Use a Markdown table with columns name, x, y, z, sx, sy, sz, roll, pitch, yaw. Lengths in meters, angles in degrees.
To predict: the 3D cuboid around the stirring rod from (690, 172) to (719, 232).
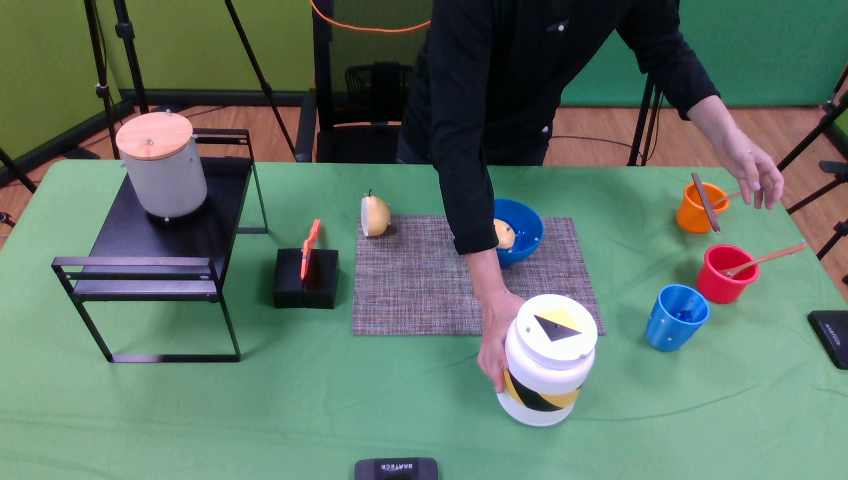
| name | x | y | z | sx | sy | sz | roll | pitch | yaw |
| --- | --- | --- | --- | --- | --- | --- | --- | --- | --- |
| stirring rod | 0.566 | -0.080 | 1.224 | 0.014 | 0.006 | 0.175 | 3 | 46 | 1 |

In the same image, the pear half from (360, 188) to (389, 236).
| name | x | y | z | sx | sy | sz | roll | pitch | yaw |
| --- | --- | --- | --- | --- | --- | --- | --- | --- | --- |
| pear half | -0.096 | -0.060 | 1.181 | 0.056 | 0.110 | 0.076 | -13 | 52 | -17 |

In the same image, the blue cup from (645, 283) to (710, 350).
| name | x | y | z | sx | sy | sz | roll | pitch | yaw |
| --- | --- | --- | --- | --- | --- | --- | --- | --- | --- |
| blue cup | 0.426 | 0.138 | 1.041 | 0.093 | 0.101 | 0.092 | 3 | 47 | -3 |

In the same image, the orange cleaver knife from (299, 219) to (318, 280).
| name | x | y | z | sx | sy | sz | roll | pitch | yaw |
| --- | --- | --- | --- | --- | --- | --- | --- | --- | --- |
| orange cleaver knife | -0.214 | 0.013 | 1.126 | 0.012 | 0.077 | 0.210 | 5 | 17 | -5 |

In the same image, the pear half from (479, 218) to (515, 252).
| name | x | y | z | sx | sy | sz | roll | pitch | yaw |
| --- | --- | --- | --- | --- | --- | --- | --- | --- | --- |
| pear half | 0.145 | -0.013 | 1.167 | 0.070 | 0.031 | 0.087 | -21 | 55 | -19 |

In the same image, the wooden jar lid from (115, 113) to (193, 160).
| name | x | y | z | sx | sy | sz | roll | pitch | yaw |
| --- | --- | --- | --- | --- | --- | --- | --- | --- | --- |
| wooden jar lid | -0.399 | -0.151 | 0.900 | 0.108 | 0.021 | 0.107 | 3 | 46 | -3 |

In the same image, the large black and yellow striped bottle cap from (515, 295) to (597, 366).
| name | x | y | z | sx | sy | sz | roll | pitch | yaw |
| --- | --- | --- | --- | --- | --- | --- | --- | --- | --- |
| large black and yellow striped bottle cap | 0.187 | 0.126 | 0.859 | 0.115 | 0.019 | 0.114 | 4 | 46 | -3 |

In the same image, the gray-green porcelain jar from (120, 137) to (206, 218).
| name | x | y | z | sx | sy | sz | roll | pitch | yaw |
| --- | --- | --- | --- | --- | --- | --- | --- | --- | --- |
| gray-green porcelain jar | -0.403 | -0.106 | 0.946 | 0.106 | 0.127 | 0.105 | 3 | 46 | -2 |

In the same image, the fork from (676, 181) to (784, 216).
| name | x | y | z | sx | sy | sz | roll | pitch | yaw |
| --- | --- | --- | --- | --- | --- | --- | --- | --- | --- |
| fork | 0.618 | -0.084 | 1.234 | 0.207 | 0.019 | 0.028 | -23 | 20 | 38 |

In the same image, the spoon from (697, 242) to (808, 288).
| name | x | y | z | sx | sy | sz | roll | pitch | yaw |
| --- | --- | --- | --- | --- | --- | --- | --- | --- | --- |
| spoon | 0.601 | 0.045 | 1.116 | 0.194 | 0.022 | 0.041 | -29 | 34 | 30 |

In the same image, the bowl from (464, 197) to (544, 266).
| name | x | y | z | sx | sy | sz | roll | pitch | yaw |
| --- | --- | --- | --- | --- | --- | --- | --- | --- | --- |
| bowl | 0.149 | -0.004 | 1.167 | 0.151 | 0.077 | 0.150 | 2 | 46 | -2 |

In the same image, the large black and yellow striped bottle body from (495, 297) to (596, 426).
| name | x | y | z | sx | sy | sz | roll | pitch | yaw |
| --- | --- | --- | --- | --- | --- | --- | --- | --- | --- |
| large black and yellow striped bottle body | 0.183 | 0.184 | 0.920 | 0.131 | 0.185 | 0.130 | 2 | 47 | -2 |
